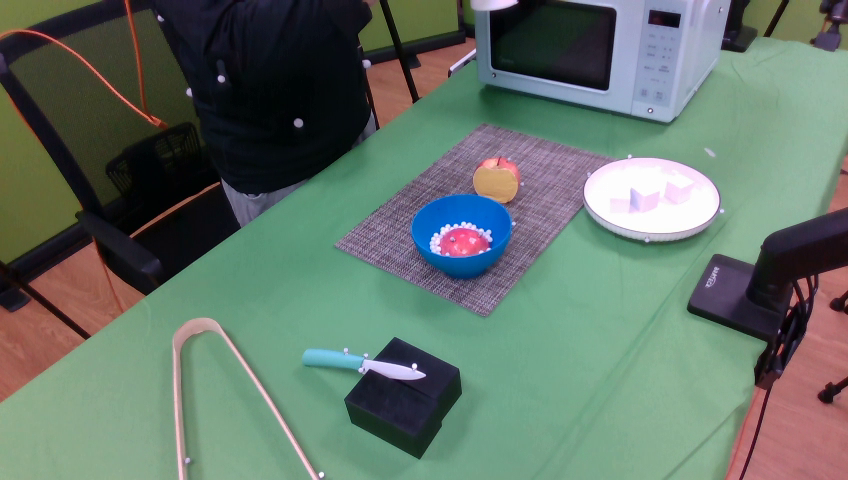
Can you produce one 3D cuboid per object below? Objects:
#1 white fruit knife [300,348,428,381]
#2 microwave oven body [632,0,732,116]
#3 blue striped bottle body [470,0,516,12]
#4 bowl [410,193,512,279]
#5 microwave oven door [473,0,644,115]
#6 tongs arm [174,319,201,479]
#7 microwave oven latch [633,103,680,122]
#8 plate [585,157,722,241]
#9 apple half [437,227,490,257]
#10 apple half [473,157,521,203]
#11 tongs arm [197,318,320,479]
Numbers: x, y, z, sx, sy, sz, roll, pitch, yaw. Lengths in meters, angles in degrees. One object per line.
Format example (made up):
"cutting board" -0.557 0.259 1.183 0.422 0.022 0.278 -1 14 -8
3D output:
"white fruit knife" -0.079 0.154 0.748 0.206 0.027 0.016 1 20 35
"microwave oven body" 0.377 -0.462 1.267 0.438 0.261 0.327 21 49 30
"blue striped bottle body" 0.086 -0.367 0.791 0.063 0.121 0.063 -7 30 4
"bowl" 0.058 0.005 0.905 0.151 0.077 0.150 -4 40 4
"microwave oven door" 0.257 -0.396 1.199 0.353 0.245 0.039 21 48 29
"tongs arm" -0.272 0.234 0.723 0.051 0.026 0.381 -18 40 -15
"microwave oven latch" 0.443 -0.249 1.157 0.078 0.029 0.030 19 48 28
"plate" 0.367 -0.063 0.979 0.207 0.039 0.206 -4 41 4
"apple half" 0.056 0.002 0.902 0.081 0.033 0.081 -3 42 3
"apple half" 0.128 -0.107 1.030 0.080 0.075 0.053 4 38 19
"tongs arm" -0.200 0.207 0.751 0.028 0.028 0.384 -31 45 -22
